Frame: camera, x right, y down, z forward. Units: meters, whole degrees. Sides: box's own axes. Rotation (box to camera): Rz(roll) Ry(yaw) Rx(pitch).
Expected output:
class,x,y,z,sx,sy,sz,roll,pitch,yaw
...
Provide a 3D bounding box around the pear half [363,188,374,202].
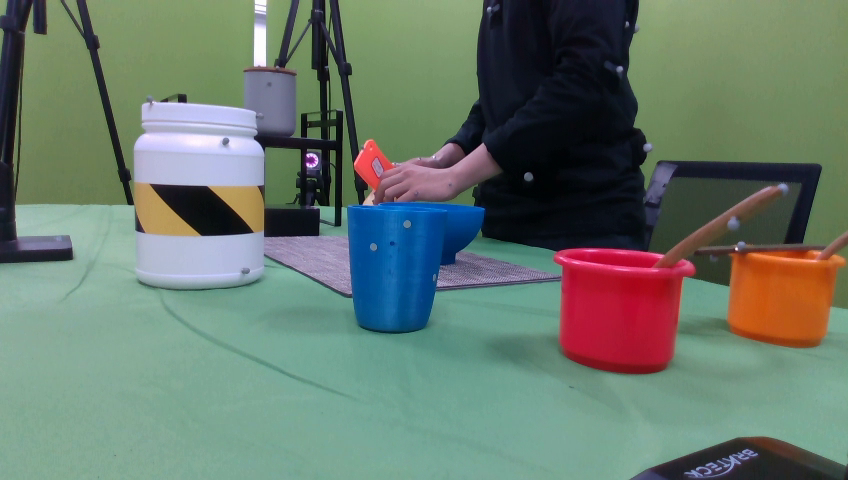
class,x,y,z,sx,sy,sz,roll,pitch,yaw
pear half,-0.094,-0.054,1.102,0.031,0.088,0.071,1,8,38

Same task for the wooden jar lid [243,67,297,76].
class,x,y,z,sx,sy,sz,roll,pitch,yaw
wooden jar lid,-0.319,-0.342,1.254,0.108,0.020,0.108,3,8,0

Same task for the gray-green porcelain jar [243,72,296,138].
class,x,y,z,sx,sy,sz,roll,pitch,yaw
gray-green porcelain jar,-0.322,-0.279,1.263,0.106,0.126,0.106,3,8,0

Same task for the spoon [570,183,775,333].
class,x,y,z,sx,sy,sz,roll,pitch,yaw
spoon,0.160,0.020,0.413,0.042,0.021,0.193,0,-36,-24

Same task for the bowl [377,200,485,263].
class,x,y,z,sx,sy,sz,roll,pitch,yaw
bowl,0.008,-0.012,0.842,0.151,0.077,0.151,3,8,0

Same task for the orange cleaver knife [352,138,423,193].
class,x,y,z,sx,sy,sz,roll,pitch,yaw
orange cleaver knife,-0.063,-0.115,1.108,0.012,0.077,0.212,8,-14,32

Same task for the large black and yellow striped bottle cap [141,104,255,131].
class,x,y,z,sx,sy,sz,roll,pitch,yaw
large black and yellow striped bottle cap,-0.241,-0.131,0.650,0.115,0.019,0.115,4,8,0

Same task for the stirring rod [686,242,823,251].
class,x,y,z,sx,sy,sz,roll,pitch,yaw
stirring rod,0.289,0.005,0.525,0.177,0.006,0.014,-1,5,-26

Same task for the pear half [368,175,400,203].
class,x,y,z,sx,sy,sz,roll,pitch,yaw
pear half,-0.064,-0.060,1.075,0.055,0.110,0.077,7,14,41

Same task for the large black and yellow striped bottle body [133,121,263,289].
class,x,y,z,sx,sy,sz,roll,pitch,yaw
large black and yellow striped bottle body,-0.243,-0.048,0.659,0.131,0.184,0.130,2,7,0

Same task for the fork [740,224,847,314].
class,x,y,z,sx,sy,sz,roll,pitch,yaw
fork,0.323,0.013,0.485,0.028,0.018,0.207,10,-38,-4

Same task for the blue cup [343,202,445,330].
class,x,y,z,sx,sy,sz,roll,pitch,yaw
blue cup,-0.027,0.020,0.510,0.093,0.100,0.092,3,5,0
